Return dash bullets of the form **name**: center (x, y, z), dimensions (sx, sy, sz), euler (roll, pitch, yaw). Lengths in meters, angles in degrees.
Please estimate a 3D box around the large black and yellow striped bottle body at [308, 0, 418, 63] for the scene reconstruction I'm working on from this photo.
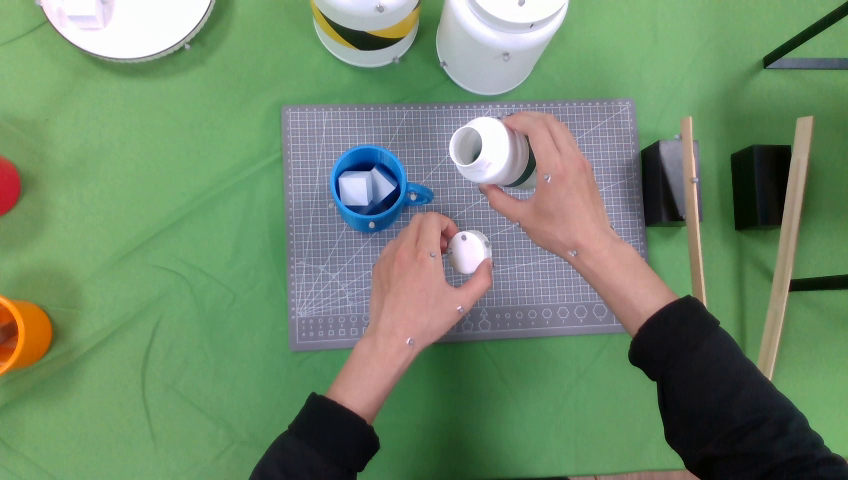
- **large black and yellow striped bottle body**: center (-0.068, -0.293, 0.677), dimensions (0.131, 0.184, 0.130), euler (1, 84, -5)

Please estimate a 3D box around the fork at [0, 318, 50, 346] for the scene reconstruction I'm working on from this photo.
- **fork**: center (-0.500, 0.083, 0.621), dimensions (0.209, 0.018, 0.028), euler (23, 78, -46)

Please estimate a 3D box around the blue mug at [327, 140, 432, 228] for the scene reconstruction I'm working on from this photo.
- **blue mug**: center (-0.048, -0.059, 0.694), dimensions (0.117, 0.106, 0.082), euler (5, 83, -5)

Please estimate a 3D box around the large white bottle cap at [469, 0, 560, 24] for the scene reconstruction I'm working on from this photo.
- **large white bottle cap**: center (0.090, -0.273, 0.604), dimensions (0.115, 0.018, 0.114), euler (1, 84, -6)

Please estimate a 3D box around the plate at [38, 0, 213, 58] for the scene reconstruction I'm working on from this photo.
- **plate**: center (-0.353, -0.316, 0.728), dimensions (0.208, 0.039, 0.207), euler (1, 85, -5)

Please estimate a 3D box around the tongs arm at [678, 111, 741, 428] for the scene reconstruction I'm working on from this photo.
- **tongs arm**: center (0.341, 0.040, 0.722), dimensions (0.051, 0.026, 0.385), euler (-7, 97, -8)

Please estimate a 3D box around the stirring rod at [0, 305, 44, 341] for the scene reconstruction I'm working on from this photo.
- **stirring rod**: center (-0.475, 0.120, 0.625), dimensions (0.014, 0.006, 0.175), euler (45, 40, -3)

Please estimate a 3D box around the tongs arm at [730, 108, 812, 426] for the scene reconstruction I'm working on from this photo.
- **tongs arm**: center (0.422, 0.036, 0.732), dimensions (0.028, 0.027, 0.388), euler (6, 96, -13)

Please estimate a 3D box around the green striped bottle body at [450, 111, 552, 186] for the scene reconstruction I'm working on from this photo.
- **green striped bottle body**: center (0.074, -0.089, 0.596), dimensions (0.063, 0.120, 0.063), euler (0, 90, 36)

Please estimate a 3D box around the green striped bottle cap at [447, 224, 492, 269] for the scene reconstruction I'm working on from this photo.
- **green striped bottle cap**: center (0.045, 0.007, 0.605), dimensions (0.044, 0.020, 0.044), euler (6, 102, 35)

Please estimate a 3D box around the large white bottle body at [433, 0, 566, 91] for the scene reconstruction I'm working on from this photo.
- **large white bottle body**: center (0.084, -0.262, 0.688), dimensions (0.131, 0.185, 0.130), euler (1, 83, -5)
